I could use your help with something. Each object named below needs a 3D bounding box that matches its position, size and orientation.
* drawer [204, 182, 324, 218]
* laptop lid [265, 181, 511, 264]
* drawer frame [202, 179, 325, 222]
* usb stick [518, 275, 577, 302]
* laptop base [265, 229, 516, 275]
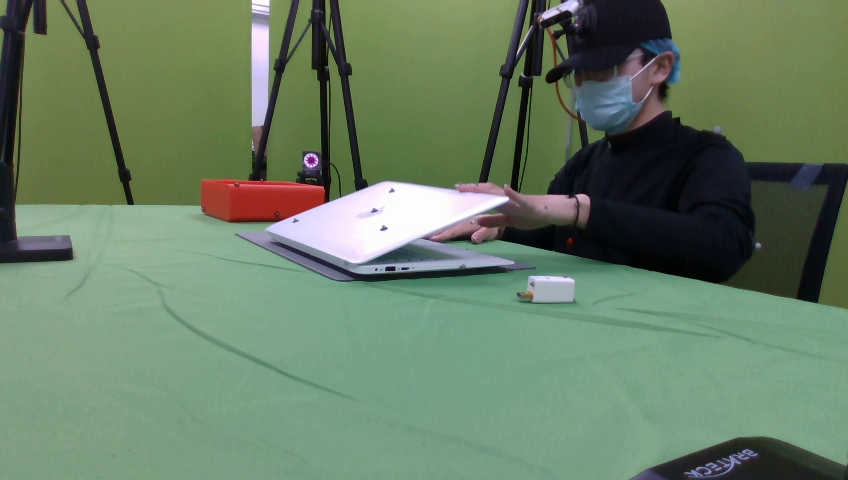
[{"bbox_3d":[-0.360,-0.092,1.358,0.213,0.073,0.193,-3,10,-36],"label":"drawer"},{"bbox_3d":[-0.070,-0.039,0.866,0.242,0.013,0.355,-23,19,-25],"label":"laptop lid"},{"bbox_3d":[-0.361,-0.092,1.356,0.215,0.082,0.200,-4,10,-37],"label":"drawer frame"},{"bbox_3d":[0.127,0.050,0.626,0.059,0.027,0.021,-2,10,-12],"label":"usb stick"},{"bbox_3d":[-0.065,0.014,0.877,0.237,0.023,0.352,2,7,-32],"label":"laptop base"}]
